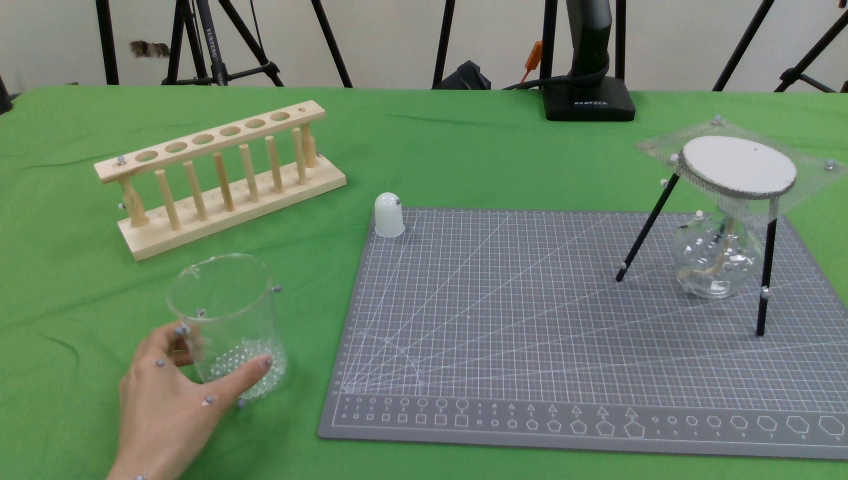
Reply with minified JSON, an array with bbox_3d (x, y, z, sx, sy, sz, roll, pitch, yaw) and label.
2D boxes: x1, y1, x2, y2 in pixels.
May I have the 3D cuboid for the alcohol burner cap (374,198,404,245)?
[{"bbox_3d":[-0.038,-0.023,0.638,0.034,0.048,0.033,0,39,1],"label":"alcohol burner cap"}]

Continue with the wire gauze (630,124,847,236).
[{"bbox_3d":[0.250,-0.058,0.488,0.122,0.011,0.123,-21,44,-25],"label":"wire gauze"}]

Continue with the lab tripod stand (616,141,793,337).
[{"bbox_3d":[0.257,-0.006,0.531,0.148,0.132,0.147,1,38,0],"label":"lab tripod stand"}]

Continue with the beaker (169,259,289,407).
[{"bbox_3d":[-0.150,0.075,0.475,0.083,0.101,0.074,28,46,33],"label":"beaker"}]

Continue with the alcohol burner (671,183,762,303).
[{"bbox_3d":[0.265,-0.002,0.541,0.078,0.120,0.077,-1,40,1],"label":"alcohol burner"}]

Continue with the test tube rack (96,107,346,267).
[{"bbox_3d":[-0.213,-0.065,0.667,0.243,0.086,0.066,-24,43,-26],"label":"test tube rack"}]
